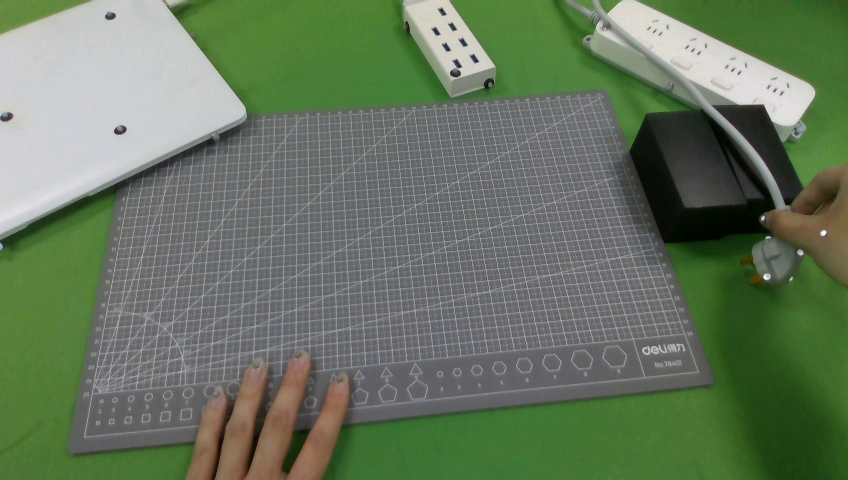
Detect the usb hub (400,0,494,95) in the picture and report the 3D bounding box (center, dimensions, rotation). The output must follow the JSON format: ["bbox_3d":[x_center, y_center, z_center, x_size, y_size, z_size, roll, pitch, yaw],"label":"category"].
[{"bbox_3d":[0.020,-0.201,0.611,0.049,0.025,0.124,-20,60,-13],"label":"usb hub"}]

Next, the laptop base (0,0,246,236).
[{"bbox_3d":[-0.368,-0.103,0.545,0.354,0.023,0.233,-32,67,-19],"label":"laptop base"}]

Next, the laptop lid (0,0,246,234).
[{"bbox_3d":[-0.366,-0.108,0.534,0.357,0.013,0.239,-30,65,-18],"label":"laptop lid"}]

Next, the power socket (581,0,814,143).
[{"bbox_3d":[0.265,-0.169,0.592,0.225,0.033,0.072,35,63,20],"label":"power socket"}]

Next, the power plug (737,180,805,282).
[{"bbox_3d":[0.269,-0.002,0.474,0.035,0.053,0.072,16,62,-20],"label":"power plug"}]
